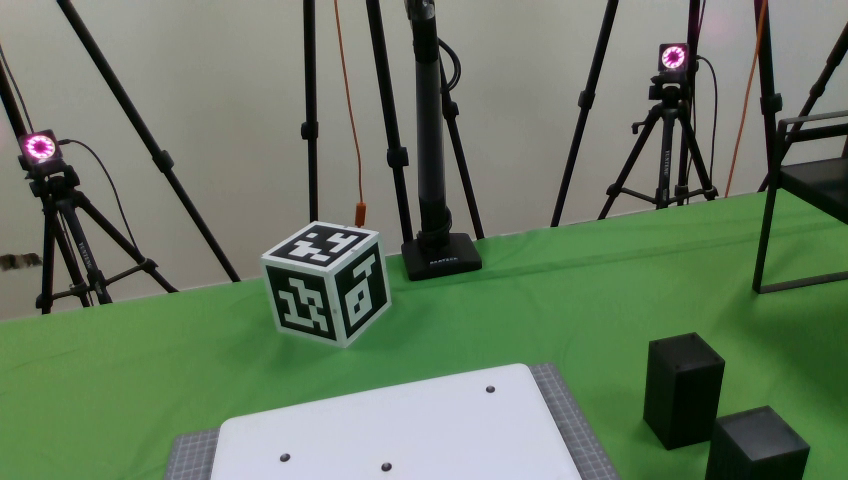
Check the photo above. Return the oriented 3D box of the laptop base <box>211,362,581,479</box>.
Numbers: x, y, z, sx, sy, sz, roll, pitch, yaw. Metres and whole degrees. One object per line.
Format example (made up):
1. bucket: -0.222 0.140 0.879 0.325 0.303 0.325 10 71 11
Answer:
1. laptop base: -0.035 0.231 0.602 0.355 0.023 0.233 -9 30 -6

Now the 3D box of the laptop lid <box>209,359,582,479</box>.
1. laptop lid: -0.036 0.221 0.594 0.357 0.013 0.239 -9 29 -4
